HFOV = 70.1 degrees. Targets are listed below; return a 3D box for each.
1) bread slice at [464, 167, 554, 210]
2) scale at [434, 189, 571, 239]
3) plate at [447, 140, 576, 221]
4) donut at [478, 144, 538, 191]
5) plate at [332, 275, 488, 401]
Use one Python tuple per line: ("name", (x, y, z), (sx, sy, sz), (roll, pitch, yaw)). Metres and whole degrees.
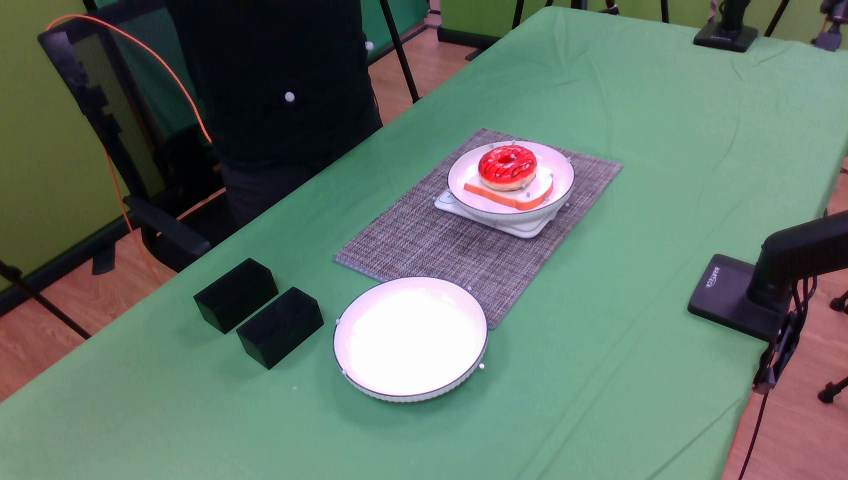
("bread slice", (0.149, -0.095, 0.998), (0.130, 0.019, 0.105), (25, 52, 32))
("scale", (0.132, -0.075, 1.025), (0.199, 0.032, 0.149), (22, 48, 30))
("plate", (0.143, -0.094, 0.994), (0.209, 0.038, 0.208), (-4, 41, 4))
("donut", (0.135, -0.119, 0.983), (0.099, 0.048, 0.098), (-7, 41, 7))
("plate", (-0.017, 0.130, 0.808), (0.207, 0.039, 0.206), (-4, 41, 4))
